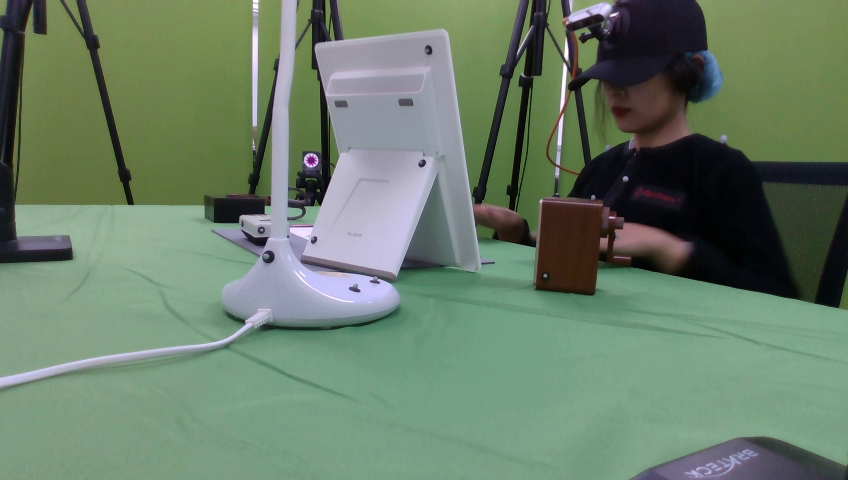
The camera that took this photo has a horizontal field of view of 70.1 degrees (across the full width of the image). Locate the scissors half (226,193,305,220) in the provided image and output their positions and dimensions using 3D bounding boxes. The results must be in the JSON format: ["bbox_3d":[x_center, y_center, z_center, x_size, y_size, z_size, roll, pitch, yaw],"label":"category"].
[{"bbox_3d":[-0.341,-0.077,1.310,0.176,0.040,0.012,17,11,-33],"label":"scissors half"}]

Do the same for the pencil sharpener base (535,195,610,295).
[{"bbox_3d":[0.172,0.005,0.695,0.076,0.107,0.061,5,7,16],"label":"pencil sharpener base"}]

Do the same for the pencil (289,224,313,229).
[{"bbox_3d":[-0.221,-0.028,1.211,0.195,0.012,0.012,-5,10,-34],"label":"pencil"}]

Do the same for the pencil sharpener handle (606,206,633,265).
[{"bbox_3d":[0.223,-0.004,0.683,0.030,0.068,0.036,5,21,17],"label":"pencil sharpener handle"}]

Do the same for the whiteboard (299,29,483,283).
[{"bbox_3d":[-0.074,-0.082,0.742,0.216,0.305,0.144,9,30,38],"label":"whiteboard"}]

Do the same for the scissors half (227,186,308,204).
[{"bbox_3d":[-0.336,-0.096,1.305,0.176,0.040,0.013,-3,16,-29],"label":"scissors half"}]

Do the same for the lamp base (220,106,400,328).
[{"bbox_3d":[-0.101,-0.023,0.531,0.160,0.180,0.179,4,10,10],"label":"lamp base"}]

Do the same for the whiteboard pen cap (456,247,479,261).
[{"bbox_3d":[0.060,0.020,0.851,0.033,0.018,0.018,10,10,37],"label":"whiteboard pen cap"}]

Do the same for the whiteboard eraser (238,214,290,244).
[{"bbox_3d":[-0.253,-0.017,0.955,0.056,0.042,0.112,-1,8,-29],"label":"whiteboard eraser"}]

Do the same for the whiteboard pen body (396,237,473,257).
[{"bbox_3d":[0.014,0.012,0.886,0.140,0.017,0.017,10,10,38],"label":"whiteboard pen body"}]
